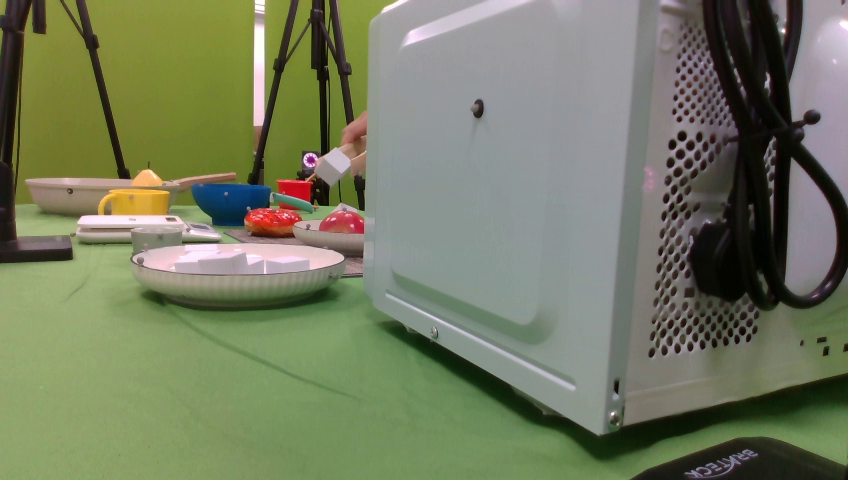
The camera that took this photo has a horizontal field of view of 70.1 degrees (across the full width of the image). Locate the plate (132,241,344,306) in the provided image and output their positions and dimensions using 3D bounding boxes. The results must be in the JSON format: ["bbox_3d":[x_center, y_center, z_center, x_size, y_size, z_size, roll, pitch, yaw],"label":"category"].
[{"bbox_3d":[-0.187,0.033,0.625,0.208,0.039,0.207,2,8,0],"label":"plate"}]

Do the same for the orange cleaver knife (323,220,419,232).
[{"bbox_3d":[-0.097,-0.027,1.152,0.077,0.012,0.212,2,7,41],"label":"orange cleaver knife"}]

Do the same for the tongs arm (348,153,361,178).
[{"bbox_3d":[-0.083,-0.147,0.969,0.050,0.026,0.385,-2,16,12],"label":"tongs arm"}]

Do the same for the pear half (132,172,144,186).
[{"bbox_3d":[-0.638,-0.113,1.361,0.031,0.088,0.070,5,11,4],"label":"pear half"}]

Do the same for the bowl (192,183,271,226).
[{"bbox_3d":[-0.382,-0.071,1.202,0.151,0.077,0.151,3,7,0],"label":"bowl"}]

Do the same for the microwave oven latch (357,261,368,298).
[{"bbox_3d":[-0.019,0.033,0.530,0.079,0.029,0.030,-1,7,-26],"label":"microwave oven latch"}]

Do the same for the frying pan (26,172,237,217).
[{"bbox_3d":[-0.624,-0.118,1.387,0.305,0.102,0.490,8,17,32],"label":"frying pan"}]

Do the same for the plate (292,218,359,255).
[{"bbox_3d":[-0.098,-0.007,0.928,0.209,0.038,0.209,2,8,0],"label":"plate"}]

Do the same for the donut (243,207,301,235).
[{"bbox_3d":[-0.261,-0.032,1.043,0.099,0.048,0.099,4,9,0],"label":"donut"}]

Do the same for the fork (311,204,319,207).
[{"bbox_3d":[-0.356,-0.105,1.526,0.208,0.018,0.028,16,-5,-41],"label":"fork"}]

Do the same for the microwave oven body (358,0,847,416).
[{"bbox_3d":[0.211,-0.047,0.475,0.444,0.260,0.324,-1,7,-28],"label":"microwave oven body"}]

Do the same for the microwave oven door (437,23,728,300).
[{"bbox_3d":[0.181,-0.072,0.621,0.358,0.243,0.039,-2,8,-29],"label":"microwave oven door"}]

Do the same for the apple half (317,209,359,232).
[{"bbox_3d":[-0.121,-0.020,0.900,0.080,0.053,0.075,3,10,14],"label":"apple half"}]

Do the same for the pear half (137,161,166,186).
[{"bbox_3d":[-0.602,-0.120,1.354,0.056,0.110,0.076,4,11,6],"label":"pear half"}]

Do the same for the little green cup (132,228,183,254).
[{"bbox_3d":[-0.342,0.006,0.779,0.061,0.038,0.061,2,8,0],"label":"little green cup"}]

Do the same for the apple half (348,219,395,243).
[{"bbox_3d":[-0.083,-0.018,0.966,0.081,0.033,0.081,6,10,-1],"label":"apple half"}]

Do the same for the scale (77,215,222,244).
[{"bbox_3d":[-0.434,-0.019,0.963,0.202,0.031,0.148,-1,9,-27],"label":"scale"}]

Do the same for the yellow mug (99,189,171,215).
[{"bbox_3d":[-0.518,-0.055,1.080,0.099,0.064,0.131,6,9,26],"label":"yellow mug"}]

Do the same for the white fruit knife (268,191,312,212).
[{"bbox_3d":[-0.364,-0.105,1.464,0.208,0.027,0.016,15,0,-34],"label":"white fruit knife"}]

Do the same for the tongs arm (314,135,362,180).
[{"bbox_3d":[-0.112,-0.146,0.972,0.028,0.028,0.387,-6,16,10],"label":"tongs arm"}]

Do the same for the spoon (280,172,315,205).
[{"bbox_3d":[-0.316,-0.159,1.640,0.194,0.022,0.041,-49,32,-20],"label":"spoon"}]
